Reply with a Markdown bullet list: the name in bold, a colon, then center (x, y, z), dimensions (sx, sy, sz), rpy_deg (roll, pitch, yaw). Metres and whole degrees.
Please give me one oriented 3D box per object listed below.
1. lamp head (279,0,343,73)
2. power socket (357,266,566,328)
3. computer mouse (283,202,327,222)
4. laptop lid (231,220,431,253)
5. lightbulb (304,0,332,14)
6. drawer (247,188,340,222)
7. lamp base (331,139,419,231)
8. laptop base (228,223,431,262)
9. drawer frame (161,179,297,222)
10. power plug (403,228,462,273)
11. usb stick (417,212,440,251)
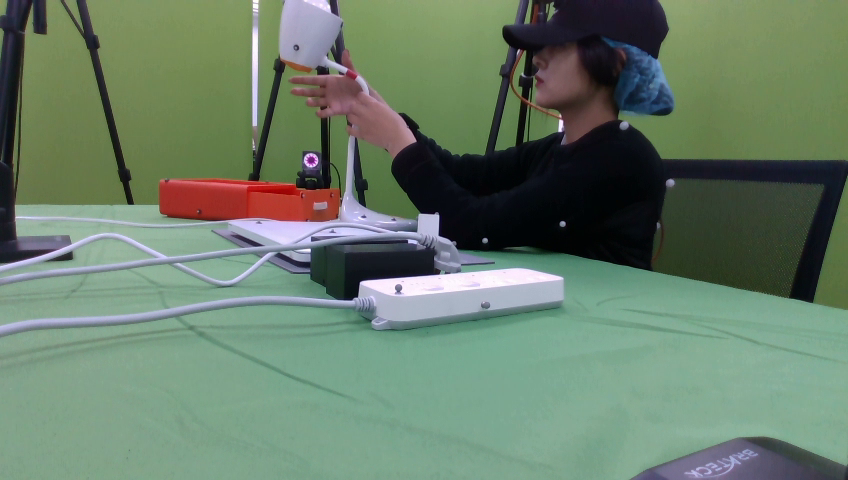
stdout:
- **lamp head**: center (-0.219, -0.377, 1.137), dimensions (0.112, 0.123, 0.112), rpy_deg (16, 12, -3)
- **power socket**: center (0.042, 0.049, 0.573), dimensions (0.228, 0.032, 0.072), rpy_deg (-3, 8, -34)
- **computer mouse**: center (-0.252, -0.061, 1.293), dimensions (0.063, 0.041, 0.117), rpy_deg (3, 4, 9)
- **laptop lid**: center (-0.142, -0.009, 0.942), dimensions (0.243, 0.013, 0.355), rpy_deg (1, 7, -31)
- **lightbulb**: center (-0.204, -0.393, 1.118), dimensions (0.059, 0.107, 0.059), rpy_deg (9, 3, 0)
- **drawer**: center (-0.313, -0.078, 1.301), dimensions (0.211, 0.073, 0.195), rpy_deg (4, 8, 15)
- **lamp base**: center (-0.098, -0.112, 1.206), dimensions (0.179, 0.180, 0.160), rpy_deg (-1, 6, -6)
- **laptop base**: center (-0.145, 0.002, 0.943), dimensions (0.237, 0.023, 0.352), rpy_deg (2, 6, -32)
- **drawer frame**: center (-0.421, -0.089, 1.329), dimensions (0.213, 0.082, 0.202), rpy_deg (4, 8, 16)
- **power plug**: center (0.006, 0.016, 0.647), dimensions (0.073, 0.052, 0.035), rpy_deg (17, 11, -5)
- **usb stick**: center (0.005, -0.003, 0.721), dimensions (0.027, 0.059, 0.021), rpy_deg (0, -3, -3)
